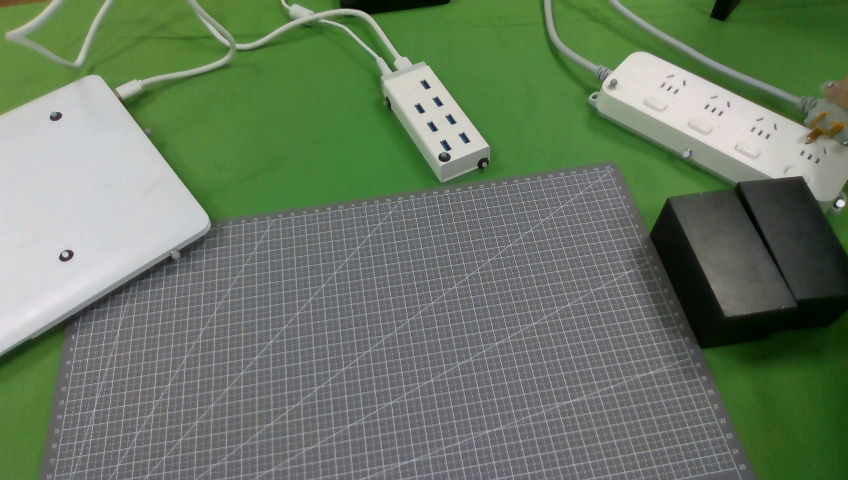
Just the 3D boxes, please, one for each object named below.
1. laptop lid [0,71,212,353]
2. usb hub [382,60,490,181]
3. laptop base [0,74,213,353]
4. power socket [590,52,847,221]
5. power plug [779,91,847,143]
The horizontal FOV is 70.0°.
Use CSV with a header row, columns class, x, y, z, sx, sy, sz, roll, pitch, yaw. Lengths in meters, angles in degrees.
class,x,y,z,sx,sy,sz,roll,pitch,yaw
laptop lid,-0.373,0.005,0.471,0.357,0.013,0.239,-33,63,-18
usb hub,0.008,-0.110,0.545,0.049,0.025,0.124,-24,59,-12
laptop base,-0.374,0.011,0.482,0.354,0.023,0.233,-35,65,-19
power socket,0.254,-0.094,0.521,0.225,0.033,0.072,35,64,23
power plug,0.325,-0.100,0.506,0.052,0.035,0.072,-39,24,-19
